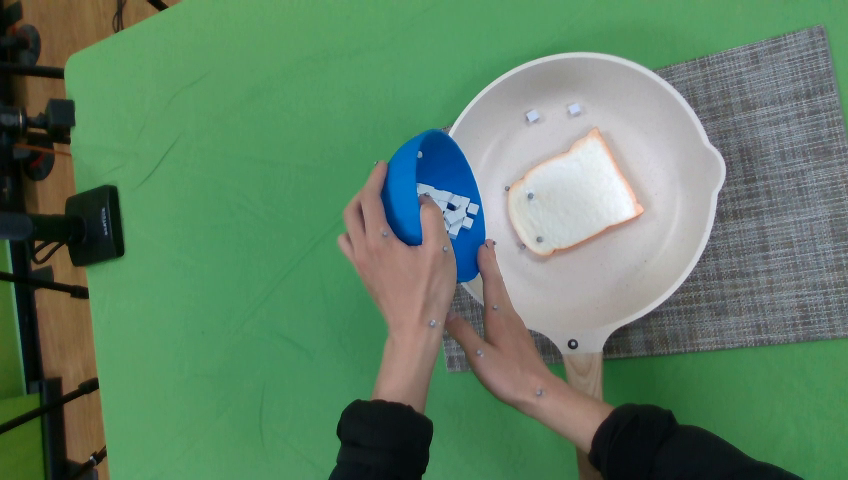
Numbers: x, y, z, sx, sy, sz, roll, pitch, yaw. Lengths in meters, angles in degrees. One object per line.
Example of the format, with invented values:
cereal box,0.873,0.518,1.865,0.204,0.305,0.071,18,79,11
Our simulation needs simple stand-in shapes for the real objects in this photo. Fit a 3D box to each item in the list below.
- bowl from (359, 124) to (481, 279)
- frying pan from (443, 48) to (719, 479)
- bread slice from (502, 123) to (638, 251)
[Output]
bowl,-0.010,-0.029,0.592,0.076,0.152,0.151,-12,84,26
frying pan,0.151,0.050,0.632,0.306,0.103,0.485,-7,78,25
bread slice,0.155,-0.049,0.675,0.134,0.018,0.106,-32,77,18
